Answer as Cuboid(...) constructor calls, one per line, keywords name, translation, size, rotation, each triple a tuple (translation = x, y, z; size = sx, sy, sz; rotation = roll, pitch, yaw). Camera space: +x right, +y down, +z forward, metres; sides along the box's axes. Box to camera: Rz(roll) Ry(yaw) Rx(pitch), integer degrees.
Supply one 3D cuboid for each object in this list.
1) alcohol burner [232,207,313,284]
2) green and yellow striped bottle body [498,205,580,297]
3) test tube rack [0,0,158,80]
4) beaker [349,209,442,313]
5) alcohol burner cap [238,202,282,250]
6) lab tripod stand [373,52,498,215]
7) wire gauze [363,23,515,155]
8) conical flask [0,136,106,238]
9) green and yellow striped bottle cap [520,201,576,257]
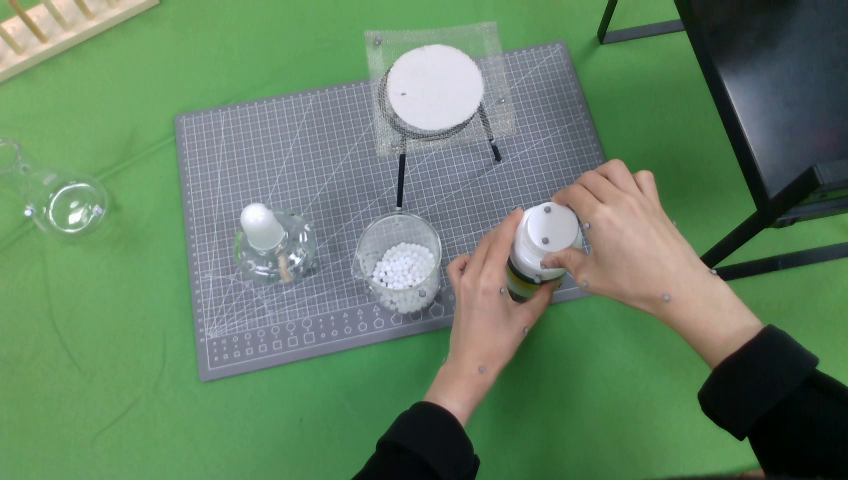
Cuboid(name="alcohol burner", translation=(-0.146, -0.001, 0.569), size=(0.078, 0.120, 0.077), rotation=(0, 69, -1))
Cuboid(name="green and yellow striped bottle body", translation=(0.105, 0.009, 0.559), size=(0.063, 0.120, 0.063), rotation=(0, 71, 1))
Cuboid(name="test tube rack", translation=(-0.440, -0.264, 0.680), size=(0.242, 0.085, 0.066), rotation=(-31, 74, -10))
Cuboid(name="beaker", translation=(-0.024, 0.026, 0.565), size=(0.084, 0.101, 0.073), rotation=(-24, 71, -6))
Cuboid(name="alcohol burner cap", translation=(-0.147, -0.015, 0.535), size=(0.034, 0.048, 0.033), rotation=(1, 63, -1))
Cuboid(name="lab tripod stand", translation=(0.006, -0.108, 0.593), size=(0.148, 0.132, 0.147), rotation=(0, 69, 0))
Cuboid(name="wire gauze", translation=(0.011, -0.137, 0.532), size=(0.121, 0.011, 0.124), rotation=(-6, 71, -3))
Cuboid(name="conical flask", translation=(-0.374, -0.055, 0.588), size=(0.075, 0.122, 0.075), rotation=(0, 70, 1))
Cuboid(name="green and yellow striped bottle cap", translation=(0.104, -0.009, 0.506), size=(0.045, 0.020, 0.045), rotation=(1, 77, -5))
